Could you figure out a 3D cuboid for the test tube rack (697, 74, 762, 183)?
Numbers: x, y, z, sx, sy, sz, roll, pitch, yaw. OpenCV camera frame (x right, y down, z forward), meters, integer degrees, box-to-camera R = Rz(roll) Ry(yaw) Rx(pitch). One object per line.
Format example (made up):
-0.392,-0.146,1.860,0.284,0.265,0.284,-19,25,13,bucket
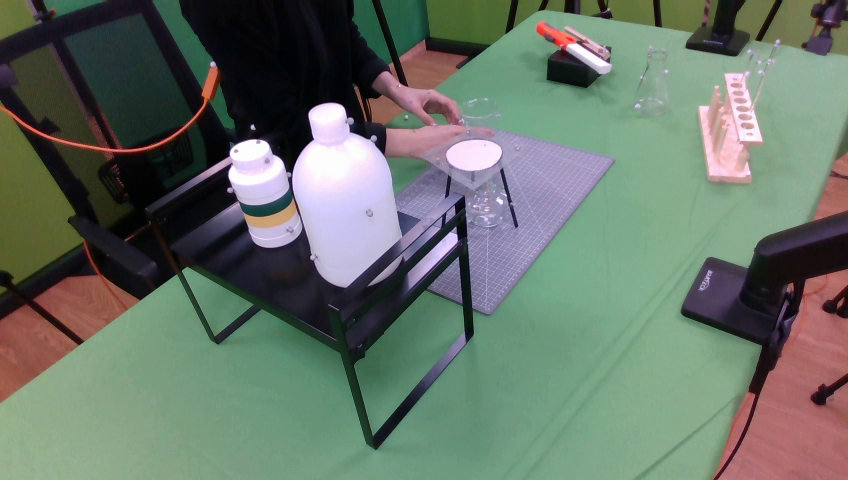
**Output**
0.547,-0.208,1.095,0.066,0.085,0.242,5,42,15,test tube rack

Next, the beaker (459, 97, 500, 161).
0.104,-0.209,1.142,0.074,0.101,0.083,-20,42,-15,beaker

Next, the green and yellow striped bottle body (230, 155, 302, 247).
-0.188,-0.055,0.714,0.063,0.120,0.063,-4,41,4,green and yellow striped bottle body

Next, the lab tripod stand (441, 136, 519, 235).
0.083,-0.086,0.976,0.148,0.132,0.147,-4,42,4,lab tripod stand

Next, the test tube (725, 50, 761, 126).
0.570,-0.269,1.086,0.017,0.151,0.017,-1,45,1,test tube

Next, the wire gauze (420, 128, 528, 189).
0.075,-0.132,0.926,0.122,0.011,0.124,-34,47,-26,wire gauze

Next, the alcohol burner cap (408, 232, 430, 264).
-0.010,0.010,0.947,0.034,0.048,0.033,-4,41,4,alcohol burner cap

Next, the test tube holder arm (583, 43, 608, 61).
0.379,-0.420,1.341,0.010,0.015,0.087,-39,41,10,test tube holder arm

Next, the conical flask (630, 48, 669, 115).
0.456,-0.317,1.205,0.075,0.122,0.075,-4,41,4,conical flask

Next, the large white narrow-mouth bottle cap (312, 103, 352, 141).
-0.089,-0.113,0.579,0.038,0.024,0.037,-3,40,3,large white narrow-mouth bottle cap

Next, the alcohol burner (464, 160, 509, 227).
0.102,-0.081,0.982,0.078,0.119,0.077,-4,43,4,alcohol burner

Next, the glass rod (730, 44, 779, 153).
0.555,-0.233,1.020,0.008,0.200,0.008,2,40,-1,glass rod

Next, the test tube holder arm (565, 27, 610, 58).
0.369,-0.450,1.373,0.013,0.015,0.177,-39,41,10,test tube holder arm

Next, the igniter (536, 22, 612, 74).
0.330,-0.439,1.366,0.057,0.025,0.274,-11,41,-20,igniter

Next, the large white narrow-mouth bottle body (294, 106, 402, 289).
-0.082,-0.047,0.634,0.102,0.195,0.101,-4,40,3,large white narrow-mouth bottle body

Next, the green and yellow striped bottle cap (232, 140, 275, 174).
-0.192,-0.094,0.680,0.045,0.020,0.045,-5,39,5,green and yellow striped bottle cap
